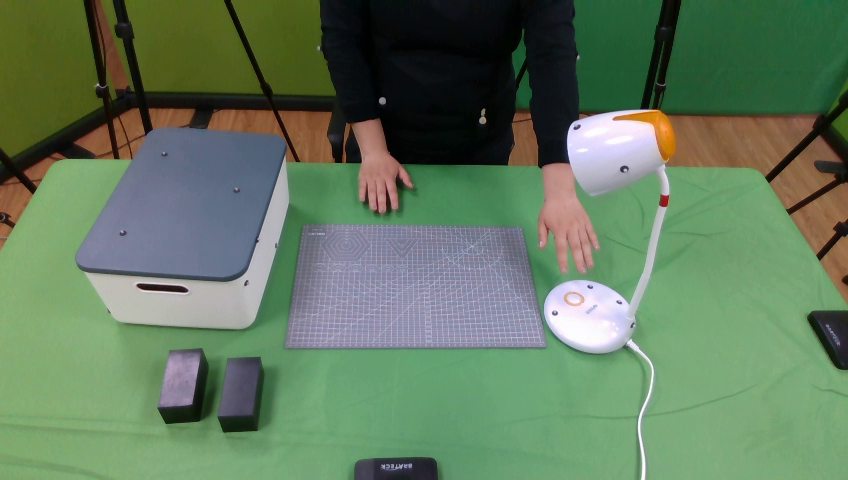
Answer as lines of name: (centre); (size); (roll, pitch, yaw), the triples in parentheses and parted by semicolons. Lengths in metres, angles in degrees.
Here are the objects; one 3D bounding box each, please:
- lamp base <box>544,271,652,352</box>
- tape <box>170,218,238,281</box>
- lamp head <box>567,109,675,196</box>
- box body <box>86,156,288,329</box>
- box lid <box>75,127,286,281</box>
lamp base: (0.310, 0.086, 1.029); (0.178, 0.181, 0.160); (32, 52, 21)
tape: (-0.406, 0.017, 1.121); (0.117, 0.053, 0.116); (2, 46, -2)
lamp head: (0.272, -0.123, 0.818); (0.122, 0.113, 0.112); (-9, 35, 37)
box body: (-0.401, -0.025, 1.094); (0.254, 0.161, 0.362); (3, 46, -1)
box lid: (-0.398, -0.075, 1.039); (0.263, 0.015, 0.369); (4, 45, -1)
